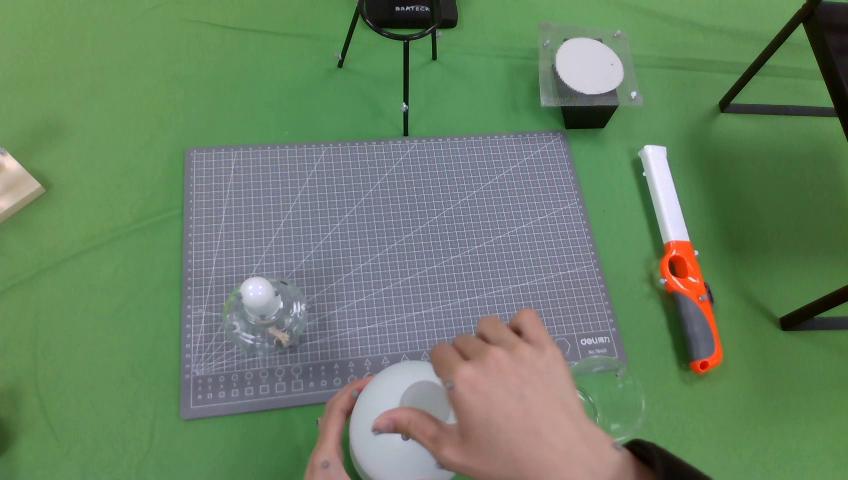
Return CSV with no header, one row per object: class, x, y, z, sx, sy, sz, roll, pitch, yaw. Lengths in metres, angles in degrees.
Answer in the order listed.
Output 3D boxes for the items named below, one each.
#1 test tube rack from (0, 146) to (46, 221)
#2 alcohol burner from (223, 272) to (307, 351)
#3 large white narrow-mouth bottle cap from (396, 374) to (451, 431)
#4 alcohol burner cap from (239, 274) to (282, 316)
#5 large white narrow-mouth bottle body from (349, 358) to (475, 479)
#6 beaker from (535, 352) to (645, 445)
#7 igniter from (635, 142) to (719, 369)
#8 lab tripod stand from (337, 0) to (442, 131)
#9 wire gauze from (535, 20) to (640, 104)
test tube rack,-0.501,-0.014,0.567,0.066,0.085,0.242,41,67,11
alcohol burner,-0.149,0.060,0.562,0.078,0.120,0.077,4,64,-8
large white narrow-mouth bottle cap,-0.001,0.110,0.413,0.038,0.024,0.037,3,65,-6
alcohol burner cap,-0.145,0.047,0.529,0.034,0.048,0.033,1,72,-4
large white narrow-mouth bottle body,-0.011,0.152,0.499,0.102,0.196,0.101,3,65,-6
beaker,0.148,0.152,0.573,0.084,0.101,0.073,26,65,6
igniter,0.287,0.009,0.692,0.057,0.025,0.274,2,66,-18
lab tripod stand,-0.031,-0.222,0.695,0.149,0.132,0.147,4,67,-8
wire gauze,0.196,-0.215,0.737,0.122,0.011,0.124,3,66,-6
